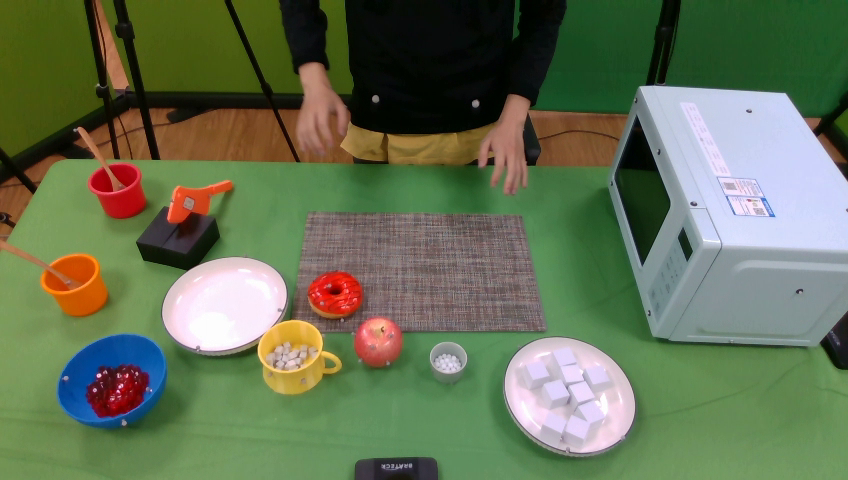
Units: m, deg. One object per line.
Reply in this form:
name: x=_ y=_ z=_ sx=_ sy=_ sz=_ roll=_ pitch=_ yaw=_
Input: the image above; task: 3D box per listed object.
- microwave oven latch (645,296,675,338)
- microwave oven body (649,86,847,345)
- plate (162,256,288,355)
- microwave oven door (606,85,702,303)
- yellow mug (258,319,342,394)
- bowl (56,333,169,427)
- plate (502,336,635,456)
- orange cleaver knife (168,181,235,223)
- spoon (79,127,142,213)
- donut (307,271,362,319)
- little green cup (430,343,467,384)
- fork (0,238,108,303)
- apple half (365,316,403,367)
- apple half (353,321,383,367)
microwave oven latch: x=0.411 y=0.134 z=1.061 sx=0.030 sy=0.029 sz=0.078 roll=3 pitch=45 yaw=0
microwave oven body: x=0.567 y=-0.053 z=1.118 sx=0.326 sy=0.261 sz=0.439 roll=2 pitch=45 yaw=-1
plate: x=-0.341 y=0.115 z=1.051 sx=0.209 sy=0.038 sz=0.208 roll=2 pitch=46 yaw=-2
microwave oven door: x=0.423 y=-0.094 z=1.140 sx=0.039 sy=0.245 sz=0.353 roll=2 pitch=46 yaw=-1
yellow mug: x=-0.196 y=0.189 z=0.972 sx=0.131 sy=0.064 sz=0.099 roll=9 pitch=46 yaw=4
bowl: x=-0.456 y=0.223 z=0.911 sx=0.151 sy=0.077 sz=0.150 roll=3 pitch=46 yaw=-2
plate: x=0.225 y=0.248 z=0.963 sx=0.208 sy=0.039 sz=0.206 roll=2 pitch=46 yaw=-2
orange cleaver knife: x=-0.436 y=-0.078 z=1.196 sx=0.012 sy=0.077 sz=0.211 roll=16 pitch=15 yaw=10
spoon: x=-0.624 y=-0.139 z=1.203 sx=0.041 sy=0.021 sz=0.194 roll=-33 pitch=100 yaw=-26
donut: x=-0.157 y=0.097 z=1.072 sx=0.099 sy=0.048 sz=0.098 roll=4 pitch=45 yaw=-3
little green cup: x=0.039 y=0.203 z=0.993 sx=0.061 sy=0.039 sz=0.061 roll=2 pitch=46 yaw=-2
fork: x=-0.633 y=0.048 z=1.017 sx=0.208 sy=0.018 sz=0.028 roll=40 pitch=42 yaw=-27
apple half: x=-0.063 y=0.165 z=1.000 sx=0.053 sy=0.075 sz=0.080 roll=-16 pitch=45 yaw=-24
apple half: x=-0.098 y=0.177 z=0.984 sx=0.033 sy=0.081 sz=0.081 roll=-17 pitch=49 yaw=-25
